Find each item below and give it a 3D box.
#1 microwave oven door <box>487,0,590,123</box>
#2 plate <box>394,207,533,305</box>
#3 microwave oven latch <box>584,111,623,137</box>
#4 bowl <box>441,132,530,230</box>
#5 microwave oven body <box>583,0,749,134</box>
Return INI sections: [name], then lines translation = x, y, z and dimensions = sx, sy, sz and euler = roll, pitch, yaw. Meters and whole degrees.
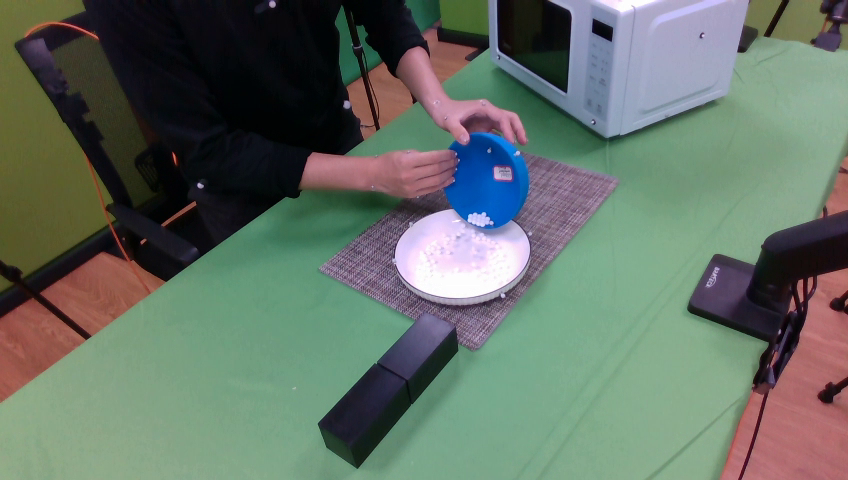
[microwave oven door]
translation = 0.232, -0.420, 1.230
dimensions = 0.039, 0.245, 0.352
euler = -22, 43, -16
[plate]
translation = 0.059, 0.025, 0.915
dimensions = 0.207, 0.039, 0.206
euler = -4, 41, 4
[microwave oven latch]
translation = 0.337, -0.222, 1.142
dimensions = 0.030, 0.029, 0.078
euler = -21, 42, -14
[bowl]
translation = 0.109, -0.099, 0.933
dimensions = 0.150, 0.151, 0.077
euler = 26, 35, 33
[microwave oven body]
translation = 0.382, -0.445, 1.246
dimensions = 0.327, 0.261, 0.437
euler = -22, 42, -16
